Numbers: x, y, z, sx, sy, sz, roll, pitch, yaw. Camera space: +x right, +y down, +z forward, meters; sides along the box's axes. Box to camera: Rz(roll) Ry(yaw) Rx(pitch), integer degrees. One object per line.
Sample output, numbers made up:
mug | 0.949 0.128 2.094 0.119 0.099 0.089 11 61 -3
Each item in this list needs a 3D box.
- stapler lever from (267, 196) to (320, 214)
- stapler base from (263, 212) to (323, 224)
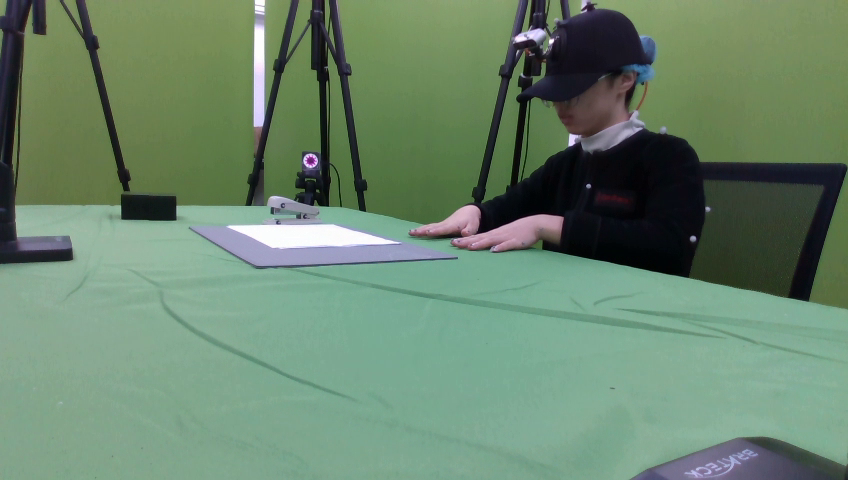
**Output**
stapler lever | -0.275 -0.073 1.277 0.026 0.040 0.119 12 10 43
stapler base | -0.277 -0.048 1.279 0.041 0.024 0.131 12 10 43
